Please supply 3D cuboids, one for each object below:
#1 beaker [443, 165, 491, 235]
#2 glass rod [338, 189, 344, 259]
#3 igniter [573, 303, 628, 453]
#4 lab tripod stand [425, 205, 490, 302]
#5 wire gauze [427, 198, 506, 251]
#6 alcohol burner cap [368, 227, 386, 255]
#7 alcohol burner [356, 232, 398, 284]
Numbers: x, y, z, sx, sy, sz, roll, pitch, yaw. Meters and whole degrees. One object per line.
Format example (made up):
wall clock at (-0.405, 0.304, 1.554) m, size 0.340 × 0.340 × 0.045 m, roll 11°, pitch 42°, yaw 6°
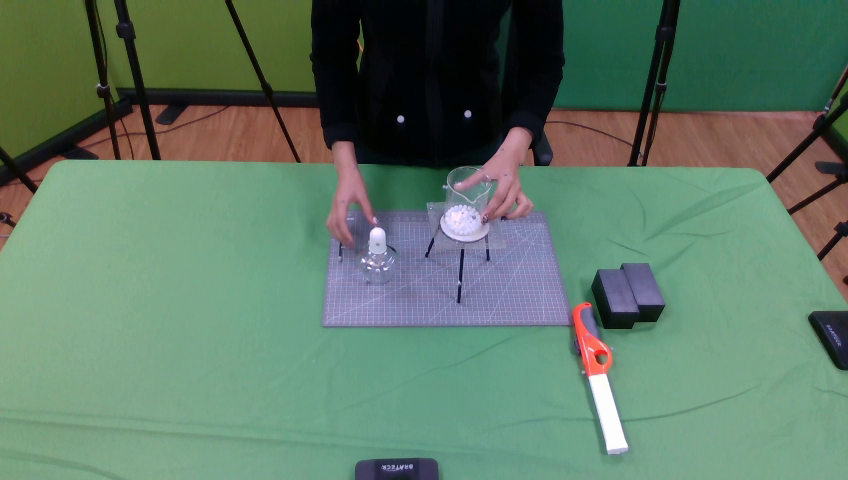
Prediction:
beaker at (0.071, -0.062, 1.023) m, size 0.074 × 0.101 × 0.083 m, roll -2°, pitch 48°, yaw -6°
glass rod at (-0.167, -0.037, 1.226) m, size 0.008 × 0.008 × 0.198 m, roll -1°, pitch 47°, yaw -4°
igniter at (0.288, 0.217, 1.006) m, size 0.057 × 0.025 × 0.274 m, roll -9°, pitch 46°, yaw 8°
lab tripod stand at (0.069, 0.017, 1.106) m, size 0.148 × 0.132 × 0.147 m, roll 3°, pitch 47°, yaw -3°
wire gauze at (0.072, -0.028, 1.057) m, size 0.125 × 0.011 × 0.120 m, roll -1°, pitch 49°, yaw -8°
alcohol burner cap at (-0.084, -0.001, 1.075) m, size 0.034 × 0.048 × 0.033 m, roll 1°, pitch 42°, yaw 0°
alcohol burner at (-0.085, 0.024, 1.102) m, size 0.078 × 0.119 × 0.077 m, roll 3°, pitch 48°, yaw -3°
